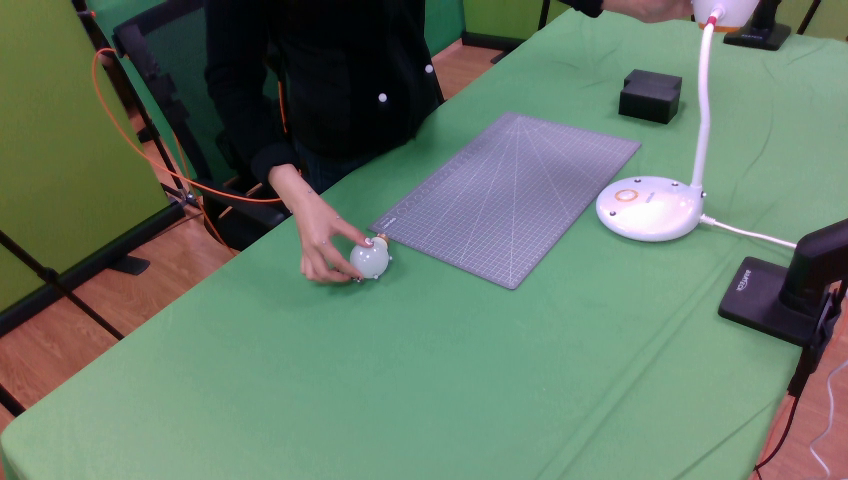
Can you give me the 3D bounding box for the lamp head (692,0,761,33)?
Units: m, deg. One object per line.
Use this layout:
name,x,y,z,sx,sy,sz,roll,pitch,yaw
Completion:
lamp head,0.438,-0.362,0.871,0.112,0.123,0.112,2,28,0

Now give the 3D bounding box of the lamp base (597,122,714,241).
lamp base,0.363,-0.109,0.921,0.178,0.181,0.160,13,45,21

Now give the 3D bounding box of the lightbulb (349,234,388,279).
lightbulb,-0.080,0.021,0.953,0.059,0.060,0.107,2,26,13
